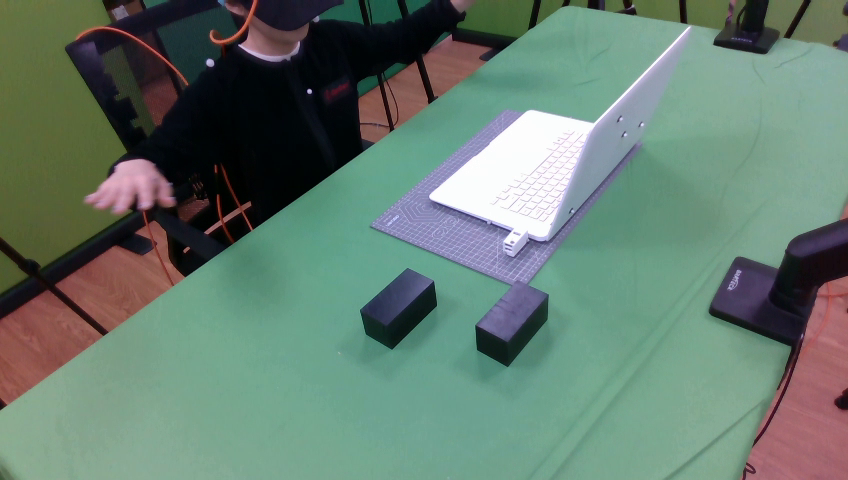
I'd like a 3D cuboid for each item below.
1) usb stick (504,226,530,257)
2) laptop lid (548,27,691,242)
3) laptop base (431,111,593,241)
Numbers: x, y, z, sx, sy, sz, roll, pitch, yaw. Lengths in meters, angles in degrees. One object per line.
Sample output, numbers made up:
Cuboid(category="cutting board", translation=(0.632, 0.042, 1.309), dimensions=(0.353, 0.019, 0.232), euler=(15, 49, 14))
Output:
Cuboid(category="usb stick", translation=(0.149, -0.002, 0.940), dimensions=(0.021, 0.027, 0.059), euler=(22, 47, 32))
Cuboid(category="laptop lid", translation=(0.310, -0.168, 0.950), dimensions=(0.013, 0.242, 0.358), euler=(33, 52, 20))
Cuboid(category="laptop base", translation=(0.207, -0.129, 1.100), dimensions=(0.233, 0.023, 0.355), euler=(20, 47, 33))
